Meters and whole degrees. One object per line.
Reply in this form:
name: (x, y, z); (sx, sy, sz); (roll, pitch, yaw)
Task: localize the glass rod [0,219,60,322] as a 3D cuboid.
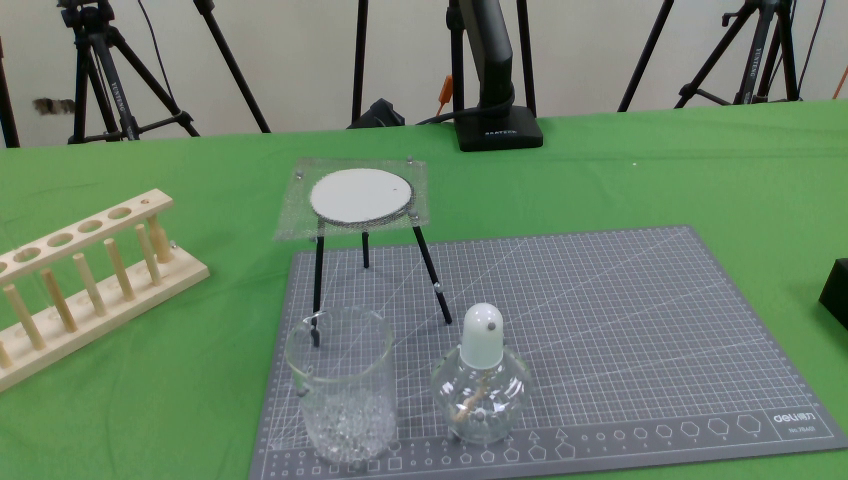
glass rod: (-0.369, -0.004, 0.534); (0.008, 0.201, 0.008); (-6, 33, 4)

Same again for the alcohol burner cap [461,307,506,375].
alcohol burner cap: (0.043, 0.068, 0.430); (0.034, 0.048, 0.033); (0, 37, 0)

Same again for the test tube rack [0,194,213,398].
test tube rack: (-0.332, 0.051, 0.570); (0.066, 0.086, 0.242); (26, 44, 34)

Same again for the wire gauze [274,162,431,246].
wire gauze: (-0.056, -0.036, 0.512); (0.121, 0.011, 0.124); (-2, 36, -1)

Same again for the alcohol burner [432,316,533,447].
alcohol burner: (0.044, 0.098, 0.451); (0.078, 0.120, 0.077); (-1, 38, 1)

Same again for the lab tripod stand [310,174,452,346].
lab tripod stand: (-0.045, 0.017, 0.553); (0.148, 0.132, 0.147); (0, 34, 1)

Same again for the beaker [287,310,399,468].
beaker: (-0.058, 0.112, 0.450); (0.083, 0.101, 0.074); (25, 43, 34)
